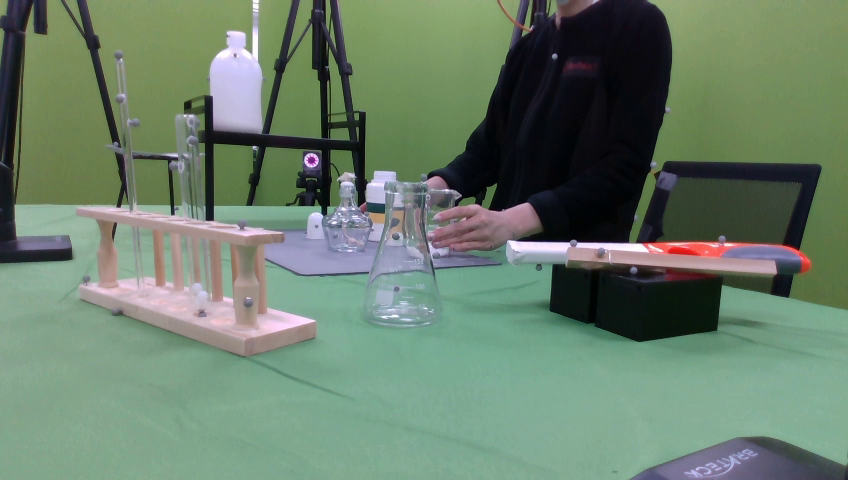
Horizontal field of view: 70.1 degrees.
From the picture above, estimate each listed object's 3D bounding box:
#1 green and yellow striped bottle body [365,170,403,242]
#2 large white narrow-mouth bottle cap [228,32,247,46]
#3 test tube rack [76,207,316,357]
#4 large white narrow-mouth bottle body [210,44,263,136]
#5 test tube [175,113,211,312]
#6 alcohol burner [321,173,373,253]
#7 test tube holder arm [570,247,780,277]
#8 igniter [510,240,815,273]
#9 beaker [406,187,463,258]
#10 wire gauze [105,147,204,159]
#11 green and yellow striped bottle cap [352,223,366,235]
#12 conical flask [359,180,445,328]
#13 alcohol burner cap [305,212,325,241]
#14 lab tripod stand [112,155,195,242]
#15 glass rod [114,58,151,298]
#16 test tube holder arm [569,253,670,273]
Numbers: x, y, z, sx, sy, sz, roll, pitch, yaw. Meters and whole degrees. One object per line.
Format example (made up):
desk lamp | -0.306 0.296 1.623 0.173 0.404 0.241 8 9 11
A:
green and yellow striped bottle body | -0.068 -0.059 1.036 0.063 0.119 0.063 2 7 0
large white narrow-mouth bottle cap | -0.364 -0.390 1.180 0.038 0.024 0.037 3 8 0
test tube rack | -0.196 0.023 0.499 0.241 0.085 0.067 8 9 36
large white narrow-mouth bottle body | -0.369 -0.305 1.194 0.102 0.194 0.102 3 8 0
test tube | -0.174 -0.020 0.458 0.017 0.150 0.017 -3 5 1
alcohol burner | -0.115 -0.041 0.905 0.078 0.119 0.078 1 6 0
test tube holder arm | 0.217 0.019 0.525 0.178 0.015 0.013 3 -23 3
igniter | 0.220 0.015 0.565 0.277 0.025 0.057 2 16 0
beaker | 0.013 -0.026 0.892 0.084 0.100 0.074 3 8 -2
wire gauze | -0.407 -0.131 0.928 0.125 0.011 0.121 2 6 -11
green and yellow striped bottle cap | -0.113 -0.021 1.140 0.045 0.020 0.045 4 6 0
conical flask | -0.017 0.010 0.522 0.075 0.122 0.075 2 7 0
alcohol burner cap | -0.185 -0.023 1.027 0.034 0.048 0.034 2 6 0
lab tripod stand | -0.405 -0.064 0.931 0.148 0.131 0.148 1 6 0
glass rod | -0.236 -0.044 0.492 0.008 0.199 0.008 1 15 0
test tube holder arm | 0.172 0.019 0.532 0.088 0.015 0.010 3 -23 3
